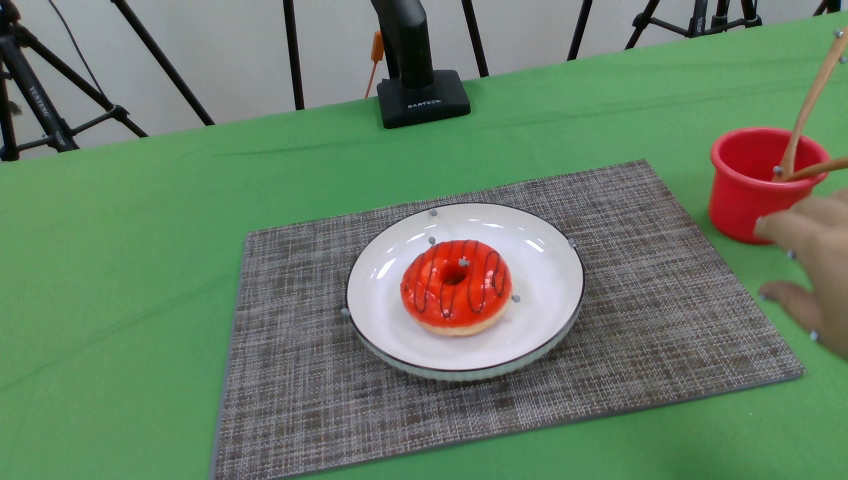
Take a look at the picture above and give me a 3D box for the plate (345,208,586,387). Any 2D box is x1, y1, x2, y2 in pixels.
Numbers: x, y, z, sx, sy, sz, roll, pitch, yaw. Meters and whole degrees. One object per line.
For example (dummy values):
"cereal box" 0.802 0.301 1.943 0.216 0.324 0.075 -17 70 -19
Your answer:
"plate" 0.036 0.048 0.536 0.209 0.038 0.207 -5 40 5

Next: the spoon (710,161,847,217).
"spoon" 0.328 -0.049 0.518 0.041 0.193 0.021 -40 94 -23

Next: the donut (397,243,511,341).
"donut" 0.026 0.045 0.525 0.099 0.049 0.098 -6 43 6

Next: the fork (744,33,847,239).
"fork" 0.347 -0.095 0.558 0.019 0.207 0.028 20 4 -22
